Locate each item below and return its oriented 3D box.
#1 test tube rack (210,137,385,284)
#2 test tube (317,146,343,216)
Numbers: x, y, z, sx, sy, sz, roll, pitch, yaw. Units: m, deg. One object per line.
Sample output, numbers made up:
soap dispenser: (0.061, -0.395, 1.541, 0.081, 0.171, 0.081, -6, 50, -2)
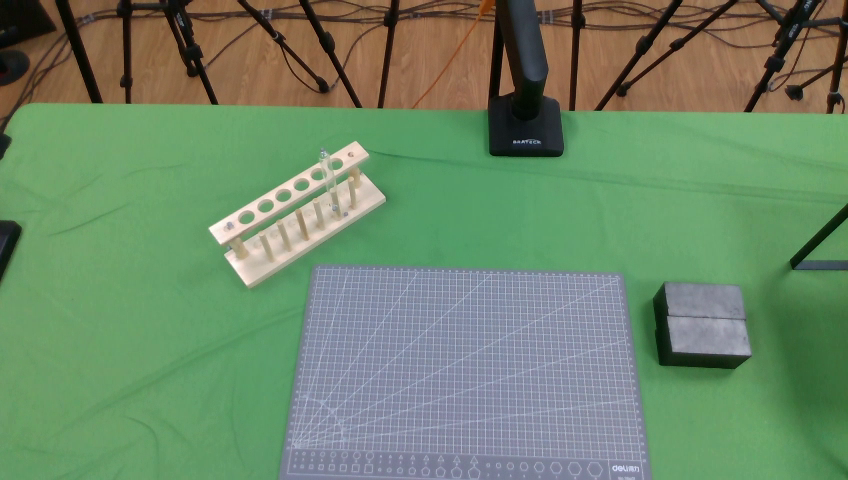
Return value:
test tube rack: (-0.175, -0.044, 0.877, 0.242, 0.086, 0.066, -35, 65, -18)
test tube: (-0.130, -0.079, 0.845, 0.017, 0.151, 0.017, 0, 59, 1)
